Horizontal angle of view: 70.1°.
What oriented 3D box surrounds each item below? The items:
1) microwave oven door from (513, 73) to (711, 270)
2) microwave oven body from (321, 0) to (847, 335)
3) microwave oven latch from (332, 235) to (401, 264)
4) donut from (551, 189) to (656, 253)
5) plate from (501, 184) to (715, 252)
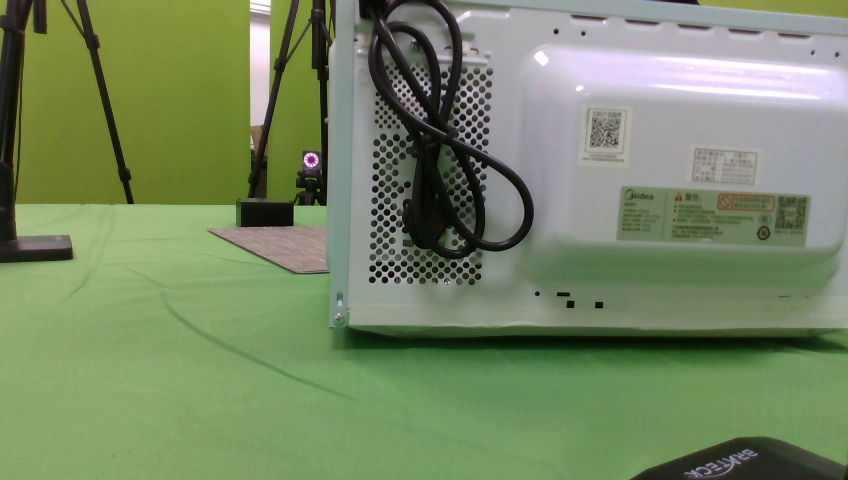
[{"bbox_3d":[0.251,-0.103,0.890,0.039,0.243,0.354,-2,8,-26],"label":"microwave oven door"},{"bbox_3d":[0.133,-0.062,0.568,0.443,0.260,0.325,2,6,-8],"label":"microwave oven body"},{"bbox_3d":[-0.066,0.010,0.700,0.079,0.029,0.030,2,6,-8],"label":"microwave oven latch"},{"bbox_3d":[0.173,-0.021,0.585,0.099,0.048,0.099,-8,16,3],"label":"donut"},{"bbox_3d":[0.181,-0.024,0.618,0.209,0.038,0.209,5,13,-1],"label":"plate"}]
